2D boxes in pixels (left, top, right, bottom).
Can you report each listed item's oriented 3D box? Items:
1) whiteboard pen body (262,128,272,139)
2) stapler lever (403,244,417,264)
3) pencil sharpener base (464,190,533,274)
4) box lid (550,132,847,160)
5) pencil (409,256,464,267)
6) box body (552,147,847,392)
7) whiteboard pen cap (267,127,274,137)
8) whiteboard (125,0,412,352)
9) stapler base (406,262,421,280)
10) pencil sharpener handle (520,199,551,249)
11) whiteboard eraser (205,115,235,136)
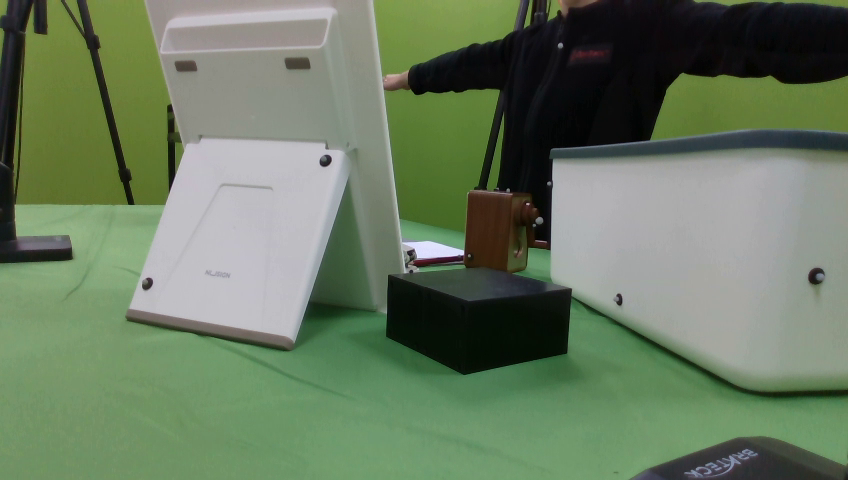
[{"bbox_3d":[-0.361,-0.245,1.393,0.017,0.017,0.140,0,5,-20],"label":"whiteboard pen body"},{"bbox_3d":[-0.066,0.003,0.755,0.117,0.040,0.027,9,13,23],"label":"stapler lever"},{"bbox_3d":[0.103,-0.012,0.813,0.076,0.107,0.061,8,9,36],"label":"pencil sharpener base"},{"bbox_3d":[0.294,-0.071,0.538,0.264,0.015,0.370,1,6,-10],"label":"box lid"},{"bbox_3d":[0.041,0.027,0.850,0.012,0.012,0.195,10,10,44],"label":"pencil"},{"bbox_3d":[0.290,0.002,0.549,0.255,0.160,0.363,2,7,-10],"label":"box body"},{"bbox_3d":[-0.340,-0.239,1.337,0.018,0.018,0.033,1,-1,-14],"label":"whiteboard pen cap"},{"bbox_3d":[-0.151,-0.050,0.471,0.216,0.305,0.144,6,27,24],"label":"whiteboard"},{"bbox_3d":[-0.069,0.027,0.759,0.130,0.024,0.041,9,13,23],"label":"stapler base"},{"bbox_3d":[0.148,-0.020,0.786,0.030,0.068,0.036,8,30,36],"label":"pencil sharpener handle"},{"bbox_3d":[-0.444,-0.250,1.322,0.056,0.042,0.112,-1,8,-15],"label":"whiteboard eraser"}]
